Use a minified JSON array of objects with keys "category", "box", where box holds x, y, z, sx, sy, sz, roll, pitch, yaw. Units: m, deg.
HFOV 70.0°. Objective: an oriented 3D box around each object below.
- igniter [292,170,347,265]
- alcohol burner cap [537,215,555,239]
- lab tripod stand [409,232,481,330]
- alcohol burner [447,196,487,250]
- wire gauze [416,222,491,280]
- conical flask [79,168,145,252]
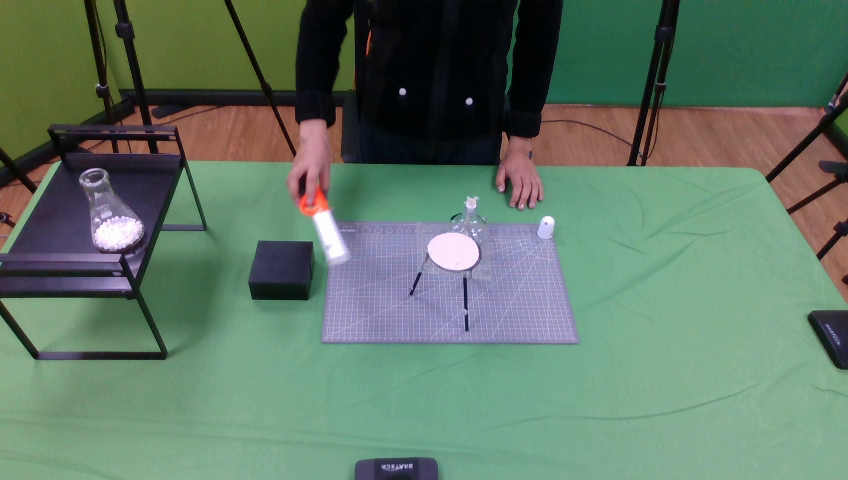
[{"category":"igniter","box":[-0.193,-0.050,1.097,0.057,0.025,0.274,-16,43,-14]},{"category":"alcohol burner cap","box":[0.249,-0.029,1.228,0.034,0.048,0.033,1,48,-1]},{"category":"lab tripod stand","box":[0.051,0.064,1.059,0.148,0.132,0.147,3,47,-3]},{"category":"alcohol burner","box":[0.085,-0.039,1.175,0.078,0.119,0.077,3,45,-3]},{"category":"wire gauze","box":[0.048,0.014,1.013,0.125,0.011,0.120,3,47,-3]},{"category":"conical flask","box":[-0.463,-0.048,0.888,0.075,0.122,0.075,2,46,-2]}]
